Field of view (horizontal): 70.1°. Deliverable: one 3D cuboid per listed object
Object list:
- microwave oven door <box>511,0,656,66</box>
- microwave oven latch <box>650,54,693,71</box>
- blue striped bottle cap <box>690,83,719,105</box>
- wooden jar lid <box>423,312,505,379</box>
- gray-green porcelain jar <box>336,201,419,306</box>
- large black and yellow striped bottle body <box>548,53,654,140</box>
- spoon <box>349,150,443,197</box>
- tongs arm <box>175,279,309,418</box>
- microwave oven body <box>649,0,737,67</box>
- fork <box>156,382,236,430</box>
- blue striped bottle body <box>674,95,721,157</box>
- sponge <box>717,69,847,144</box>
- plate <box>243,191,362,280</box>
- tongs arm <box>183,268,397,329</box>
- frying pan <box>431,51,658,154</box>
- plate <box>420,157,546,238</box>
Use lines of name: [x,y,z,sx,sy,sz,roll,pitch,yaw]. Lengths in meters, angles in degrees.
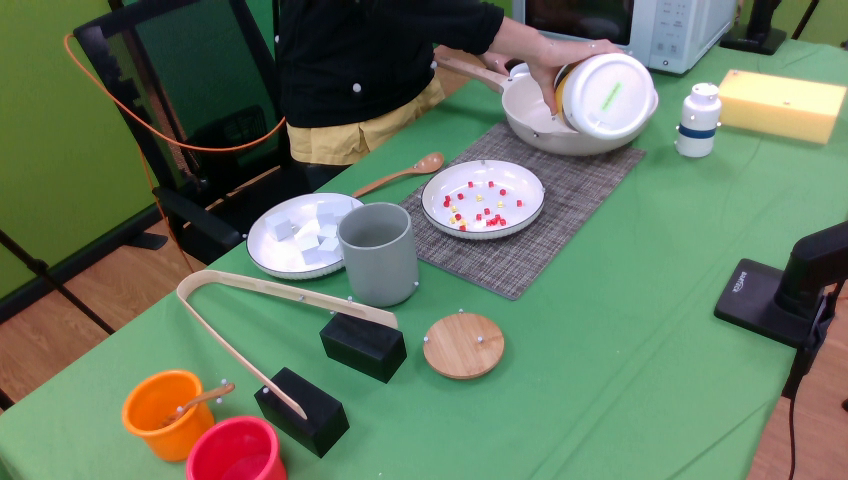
microwave oven door: [0.350,-0.539,1.349,0.353,0.245,0.039,24,50,31]
microwave oven latch: [0.531,-0.386,1.301,0.078,0.029,0.030,26,51,33]
blue striped bottle cap: [0.481,-0.251,1.038,0.044,0.021,0.044,-5,40,5]
wooden jar lid: [0.053,0.142,0.800,0.108,0.021,0.108,-5,39,4]
gray-green porcelain jar: [-0.064,0.024,0.872,0.106,0.127,0.105,-4,41,4]
large black and yellow striped bottle body: [0.284,-0.242,1.007,0.131,0.131,0.183,-10,17,-2]
spoon: [-0.051,-0.123,1.120,0.194,0.022,0.041,-23,59,-18]
tongs arm: [-0.255,0.132,0.800,0.028,0.028,0.384,-41,40,-23]
microwave oven body: [0.475,-0.602,1.411,0.438,0.261,0.327,23,50,32]
fork: [-0.262,0.189,0.690,0.018,0.206,0.028,48,43,-7]
blue striped bottle body: [0.486,-0.213,1.072,0.063,0.121,0.063,-4,41,4]
sponge: [0.663,-0.256,1.141,0.205,0.061,0.118,19,47,27]
plate: [-0.187,-0.005,0.992,0.207,0.039,0.206,-4,41,4]
tongs arm: [-0.203,0.084,0.847,0.382,0.027,0.051,11,44,34]
frying pan: [0.216,-0.302,1.223,0.484,0.103,0.308,29,50,24]
plate: [0.099,-0.067,1.017,0.209,0.038,0.208,-4,40,4]
